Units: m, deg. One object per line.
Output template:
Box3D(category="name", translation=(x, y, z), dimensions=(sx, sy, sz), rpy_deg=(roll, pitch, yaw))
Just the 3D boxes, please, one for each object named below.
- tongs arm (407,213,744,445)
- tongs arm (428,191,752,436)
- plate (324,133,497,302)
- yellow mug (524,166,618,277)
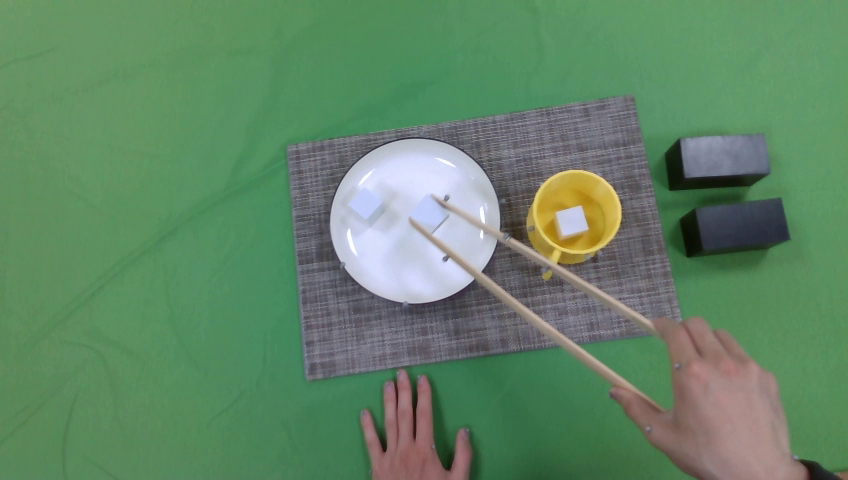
Box3D(category="tongs arm", translation=(0.110, 0.066, 0.571), dimensions=(0.028, 0.028, 0.383), rpy_deg=(-45, 52, -11))
Box3D(category="tongs arm", translation=(0.127, 0.048, 0.574), dimensions=(0.381, 0.027, 0.050), rpy_deg=(32, 77, 36))
Box3D(category="plate", translation=(-0.016, -0.026, 0.738), dimensions=(0.207, 0.039, 0.206), rpy_deg=(0, 79, 3))
Box3D(category="yellow mug", translation=(0.165, -0.016, 0.713), dimensions=(0.100, 0.064, 0.130), rpy_deg=(23, 81, 7))
